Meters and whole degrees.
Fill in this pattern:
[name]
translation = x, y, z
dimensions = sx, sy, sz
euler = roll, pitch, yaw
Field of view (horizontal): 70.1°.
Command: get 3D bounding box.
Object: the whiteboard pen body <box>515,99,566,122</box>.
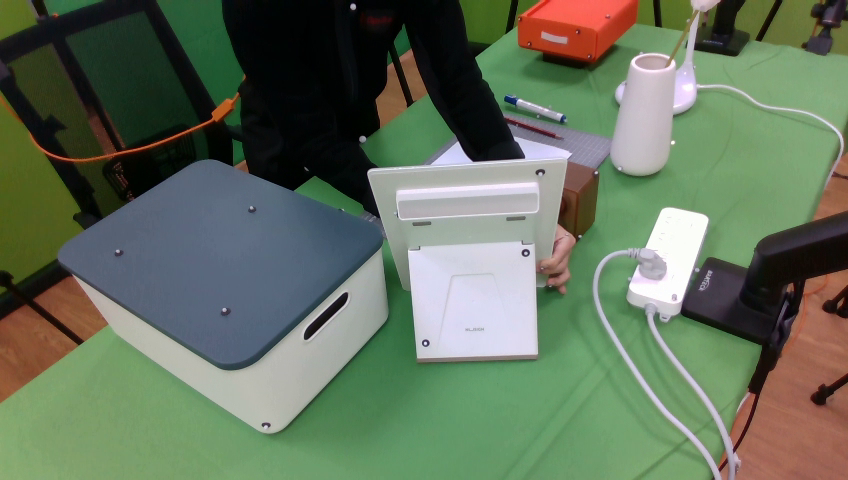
[whiteboard pen body]
translation = 0.234, -0.274, 1.262
dimensions = 0.139, 0.017, 0.017
euler = 28, 51, 29

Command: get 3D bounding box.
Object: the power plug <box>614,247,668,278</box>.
[power plug]
translation = 0.306, 0.031, 0.851
dimensions = 0.072, 0.053, 0.035
euler = 24, 49, 33

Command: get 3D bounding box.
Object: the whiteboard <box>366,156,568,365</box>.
[whiteboard]
translation = 0.059, 0.050, 0.738
dimensions = 0.217, 0.307, 0.143
euler = -2, 60, 5

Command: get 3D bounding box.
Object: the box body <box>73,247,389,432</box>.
[box body]
translation = -0.255, 0.065, 0.827
dimensions = 0.361, 0.161, 0.255
euler = 21, 48, 29

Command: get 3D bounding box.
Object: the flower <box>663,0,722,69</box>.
[flower]
translation = 0.379, -0.261, 0.965
dimensions = 0.044, 0.362, 0.038
euler = 20, 53, 5

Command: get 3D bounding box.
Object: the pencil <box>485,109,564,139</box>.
[pencil]
translation = 0.201, -0.235, 1.228
dimensions = 0.192, 0.012, 0.012
euler = 28, 51, 33

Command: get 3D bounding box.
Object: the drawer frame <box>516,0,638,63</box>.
[drawer frame]
translation = 0.355, -0.508, 1.410
dimensions = 0.200, 0.083, 0.214
euler = 23, 51, 32

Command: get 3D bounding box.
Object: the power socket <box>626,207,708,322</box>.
[power socket]
translation = 0.359, 0.026, 0.886
dimensions = 0.072, 0.033, 0.227
euler = 16, 46, 26

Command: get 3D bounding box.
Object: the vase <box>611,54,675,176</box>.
[vase]
translation = 0.377, -0.209, 1.031
dimensions = 0.098, 0.201, 0.097
euler = -3, 40, 3

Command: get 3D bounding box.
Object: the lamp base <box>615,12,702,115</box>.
[lamp base]
translation = 0.484, -0.363, 1.211
dimensions = 0.180, 0.181, 0.159
euler = -15, 41, -14

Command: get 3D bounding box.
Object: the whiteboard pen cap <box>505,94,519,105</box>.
[whiteboard pen cap]
translation = 0.190, -0.299, 1.292
dimensions = 0.033, 0.018, 0.018
euler = 30, 52, 28

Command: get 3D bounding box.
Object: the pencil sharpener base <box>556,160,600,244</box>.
[pencil sharpener base]
translation = 0.228, -0.057, 0.945
dimensions = 0.061, 0.107, 0.077
euler = 24, 50, 31

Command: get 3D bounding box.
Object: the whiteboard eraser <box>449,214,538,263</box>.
[whiteboard eraser]
translation = 0.095, 0.002, 0.832
dimensions = 0.112, 0.056, 0.041
euler = -13, 56, 27

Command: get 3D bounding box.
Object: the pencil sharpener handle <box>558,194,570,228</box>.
[pencil sharpener handle]
translation = 0.195, -0.038, 0.908
dimensions = 0.035, 0.068, 0.031
euler = 24, 50, 31

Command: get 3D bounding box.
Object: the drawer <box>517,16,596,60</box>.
[drawer]
translation = 0.352, -0.506, 1.405
dimensions = 0.193, 0.073, 0.212
euler = 23, 49, 32

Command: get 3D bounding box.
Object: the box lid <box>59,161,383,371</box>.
[box lid]
translation = -0.261, 0.010, 0.777
dimensions = 0.369, 0.015, 0.264
euler = 21, 48, 29
